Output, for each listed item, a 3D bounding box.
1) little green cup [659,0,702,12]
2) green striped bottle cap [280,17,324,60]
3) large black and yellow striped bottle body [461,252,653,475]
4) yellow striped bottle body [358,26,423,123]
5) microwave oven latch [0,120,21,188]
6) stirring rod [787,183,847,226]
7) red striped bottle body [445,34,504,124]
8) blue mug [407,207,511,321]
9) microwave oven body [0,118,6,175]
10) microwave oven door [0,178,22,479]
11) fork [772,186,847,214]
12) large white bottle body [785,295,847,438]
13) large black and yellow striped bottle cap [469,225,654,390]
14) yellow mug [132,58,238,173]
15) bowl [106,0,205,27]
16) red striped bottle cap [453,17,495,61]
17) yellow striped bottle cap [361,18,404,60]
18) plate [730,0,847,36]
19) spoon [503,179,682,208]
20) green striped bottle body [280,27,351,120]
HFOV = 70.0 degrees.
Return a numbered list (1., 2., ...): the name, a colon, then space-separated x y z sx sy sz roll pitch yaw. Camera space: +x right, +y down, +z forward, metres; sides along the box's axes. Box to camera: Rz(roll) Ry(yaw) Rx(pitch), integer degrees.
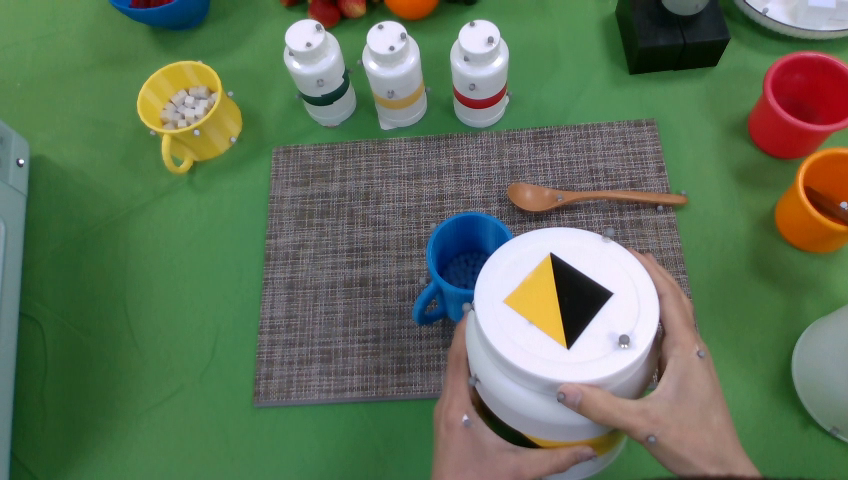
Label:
1. little green cup: 0.293 -0.290 0.682 0.061 0.039 0.061 -1 66 3
2. green striped bottle cap: -0.129 -0.214 0.643 0.044 0.020 0.044 -2 66 5
3. large black and yellow striped bottle body: 0.095 0.088 0.456 0.131 0.186 0.129 -3 53 5
4. yellow striped bottle body: -0.038 -0.191 0.682 0.063 0.121 0.062 -2 67 5
5. microwave oven latch: -0.493 -0.098 0.708 0.030 0.030 0.078 -10 68 0
6. stirring rod: 0.392 -0.023 0.569 0.014 0.006 0.175 -1 25 2
7. red striped bottle body: 0.056 -0.187 0.673 0.063 0.120 0.062 -2 67 5
8. blue mug: 0.031 0.037 0.589 0.116 0.106 0.082 -39 69 -10
9. microwave oven body: -0.611 0.057 0.553 0.326 0.262 0.438 -12 68 0
10. microwave oven door: -0.461 0.062 0.532 0.039 0.245 0.353 -13 68 0
11. fork: 0.421 -0.023 0.558 0.028 0.019 0.205 -30 24 -15
12. large white bottle body: 0.402 0.093 0.495 0.130 0.186 0.129 -2 67 5
13. large black and yellow striped bottle cap: 0.087 0.039 0.388 0.115 0.019 0.114 -4 53 5
14. yellow mug: -0.284 -0.141 0.713 0.100 0.064 0.130 6 69 7
15. bowl: -0.337 -0.334 0.788 0.151 0.077 0.150 -1 68 4
16. red striped bottle cap: 0.052 -0.208 0.624 0.044 0.018 0.044 0 66 1
17. yellow striped bottle cap: -0.043 -0.210 0.633 0.044 0.019 0.044 0 65 0
18. plate: 0.460 -0.329 0.739 0.209 0.038 0.207 -2 69 4
19. spoon: 0.182 -0.050 0.655 0.193 0.022 0.041 0 47 5
20. green striped bottle body: -0.124 -0.195 0.691 0.063 0.120 0.062 -2 68 4
